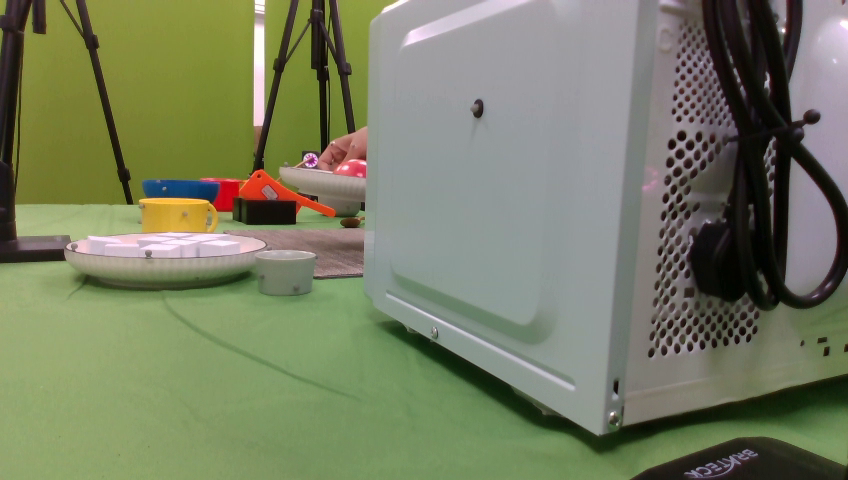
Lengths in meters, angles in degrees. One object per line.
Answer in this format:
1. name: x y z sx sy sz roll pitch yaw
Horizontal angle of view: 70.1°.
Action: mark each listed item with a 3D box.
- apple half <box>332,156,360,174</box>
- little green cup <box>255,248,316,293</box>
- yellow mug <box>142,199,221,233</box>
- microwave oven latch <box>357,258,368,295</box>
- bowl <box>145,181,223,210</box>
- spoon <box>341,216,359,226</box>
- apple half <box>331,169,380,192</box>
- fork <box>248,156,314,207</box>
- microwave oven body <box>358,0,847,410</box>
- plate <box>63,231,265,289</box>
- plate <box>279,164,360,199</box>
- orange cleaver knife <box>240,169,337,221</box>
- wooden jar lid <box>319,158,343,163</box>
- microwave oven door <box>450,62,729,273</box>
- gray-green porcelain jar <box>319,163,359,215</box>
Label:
1. apple half: -0.095 -0.096 0.893 0.074 0.053 0.081 15 9 38
2. little green cup: -0.144 0.031 0.627 0.061 0.038 0.061 2 6 0
3. yellow mug: -0.373 -0.030 0.948 0.099 0.064 0.131 6 8 30
4. microwave oven latch: -0.019 0.031 0.529 0.079 0.029 0.030 -1 7 -27
5. bowl: -0.499 -0.081 1.261 0.151 0.077 0.151 2 7 0
6. spoon: -0.132 -0.048 1.305 0.041 0.021 0.194 -14 4 14
7. apple half: -0.106 -0.097 0.972 0.081 0.033 0.081 5 10 -1
8. fork: -0.360 -0.147 1.523 0.207 0.018 0.028 -43 16 -6
9. microwave oven body: 0.210 -0.051 0.471 0.444 0.260 0.324 -1 7 -28
10. plate: -0.288 0.021 0.687 0.208 0.039 0.207 2 8 0
11. plate: -0.116 -0.087 0.927 0.209 0.038 0.209 7 6 0
12. orange cleaver knife: -0.286 -0.082 1.298 0.212 0.077 0.012 25 -2 -31
13. wooden jar lid: -0.203 -0.189 1.482 0.108 0.020 0.108 2 10 0
14. microwave oven door: 0.195 -0.098 0.795 0.354 0.243 0.039 7 9 35
15. gray-green porcelain jar: -0.204 -0.126 1.490 0.106 0.126 0.106 2 7 0
